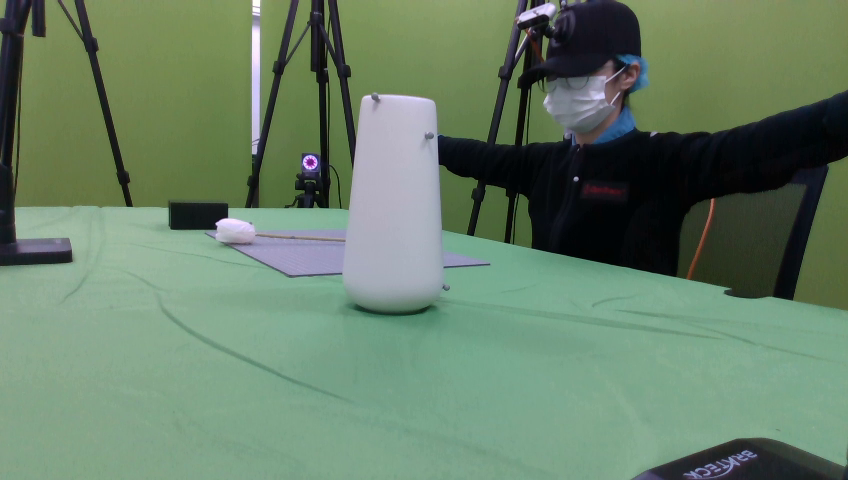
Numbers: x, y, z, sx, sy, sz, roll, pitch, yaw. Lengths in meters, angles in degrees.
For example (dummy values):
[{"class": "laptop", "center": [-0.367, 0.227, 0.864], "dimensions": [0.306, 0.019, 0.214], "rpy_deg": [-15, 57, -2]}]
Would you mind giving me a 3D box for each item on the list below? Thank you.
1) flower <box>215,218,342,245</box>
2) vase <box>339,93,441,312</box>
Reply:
[{"class": "flower", "center": [-0.152, -0.001, 0.993], "dimensions": [0.363, 0.038, 0.044], "rpy_deg": [5, -31, -17]}, {"class": "vase", "center": [-0.032, -0.035, 0.577], "dimensions": [0.098, 0.200, 0.098], "rpy_deg": [0, 7, 0]}]
